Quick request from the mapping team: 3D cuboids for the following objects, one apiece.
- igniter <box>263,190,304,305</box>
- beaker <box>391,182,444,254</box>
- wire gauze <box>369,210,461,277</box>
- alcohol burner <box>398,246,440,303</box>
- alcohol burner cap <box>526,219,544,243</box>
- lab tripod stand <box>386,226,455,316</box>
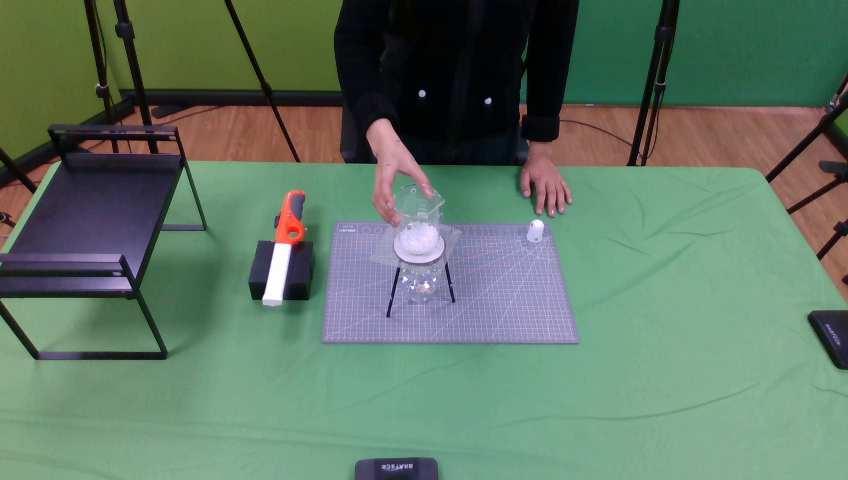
[{"bbox_3d":[-0.255,0.004,1.107,0.057,0.025,0.274,6,46,-7],"label":"igniter"},{"bbox_3d":[-0.009,-0.032,0.976,0.084,0.101,0.073,-1,51,1],"label":"beaker"},{"bbox_3d":[-0.012,0.006,1.017,0.121,0.011,0.124,17,48,12],"label":"wire gauze"},{"bbox_3d":[-0.008,0.056,1.077,0.078,0.119,0.077,3,44,-3],"label":"alcohol burner"},{"bbox_3d":[0.226,-0.021,1.219,0.034,0.048,0.033,1,46,-1],"label":"alcohol burner cap"},{"bbox_3d":[-0.013,0.054,1.064,0.148,0.132,0.147,2,48,-2],"label":"lab tripod stand"}]
